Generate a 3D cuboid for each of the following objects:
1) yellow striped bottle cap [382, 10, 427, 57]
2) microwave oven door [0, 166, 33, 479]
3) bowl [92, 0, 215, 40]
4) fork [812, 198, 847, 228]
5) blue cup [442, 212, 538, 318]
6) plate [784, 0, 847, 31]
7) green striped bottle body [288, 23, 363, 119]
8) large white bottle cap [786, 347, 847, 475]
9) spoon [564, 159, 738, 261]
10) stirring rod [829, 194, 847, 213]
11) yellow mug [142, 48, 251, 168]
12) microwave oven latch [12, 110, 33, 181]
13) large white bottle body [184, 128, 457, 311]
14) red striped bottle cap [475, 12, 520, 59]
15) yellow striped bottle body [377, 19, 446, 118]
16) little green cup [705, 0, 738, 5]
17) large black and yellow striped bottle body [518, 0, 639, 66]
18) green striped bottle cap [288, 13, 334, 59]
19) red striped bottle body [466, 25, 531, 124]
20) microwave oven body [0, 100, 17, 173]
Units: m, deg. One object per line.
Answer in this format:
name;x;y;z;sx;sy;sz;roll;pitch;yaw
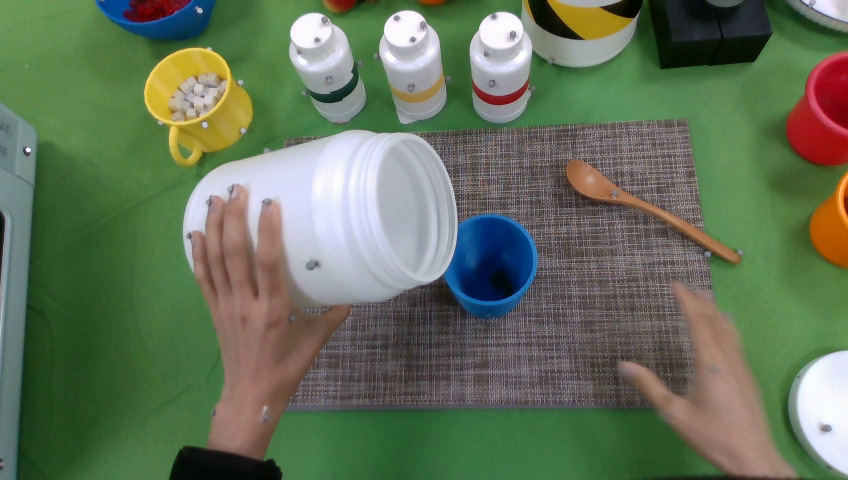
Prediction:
yellow striped bottle cap;-0.020;-0.205;0.600;0.044;0.019;0.044;-2;72;5
microwave oven door;-0.449;0.064;0.528;0.039;0.245;0.353;-11;70;3
bowl;-0.316;-0.301;0.744;0.151;0.077;0.150;-2;71;5
fork;0.434;-0.002;0.518;0.028;0.205;0.019;-23;114;-15
blue cup;0.060;0.033;0.570;0.092;0.101;0.092;-2;70;5
plate;0.486;-0.317;0.680;0.209;0.038;0.207;-2;71;6
green striped bottle body;-0.107;-0.188;0.659;0.063;0.120;0.063;-2;70;6
large white bottle cap;0.388;0.152;0.541;0.115;0.018;0.114;-2;70;5
spoon;0.228;-0.030;0.615;0.193;0.022;0.041;29;52;14
stirring rod;0.406;-0.003;0.530;0.014;0.006;0.175;0;28;4
yellow mug;-0.262;-0.145;0.690;0.100;0.064;0.130;8;73;8
microwave oven latch;-0.471;-0.107;0.696;0.030;0.030;0.078;-9;71;3
large white bottle body;-0.079;-0.014;0.476;0.184;0.132;0.130;-8;68;31
red striped bottle cap;0.072;-0.199;0.587;0.044;0.018;0.044;-1;70;3
yellow striped bottle body;-0.013;-0.188;0.648;0.063;0.121;0.062;-3;71;8
little green cup;0.316;-0.279;0.632;0.061;0.039;0.061;-2;70;5
large black and yellow striped bottle body;0.166;-0.286;0.628;0.130;0.185;0.130;-2;71;6
green striped bottle cap;-0.114;-0.205;0.610;0.044;0.020;0.044;-2;70;5
red striped bottle body;0.079;-0.180;0.636;0.063;0.121;0.062;-4;67;11
microwave oven body;-0.599;0.053;0.553;0.326;0.262;0.438;-11;71;2
